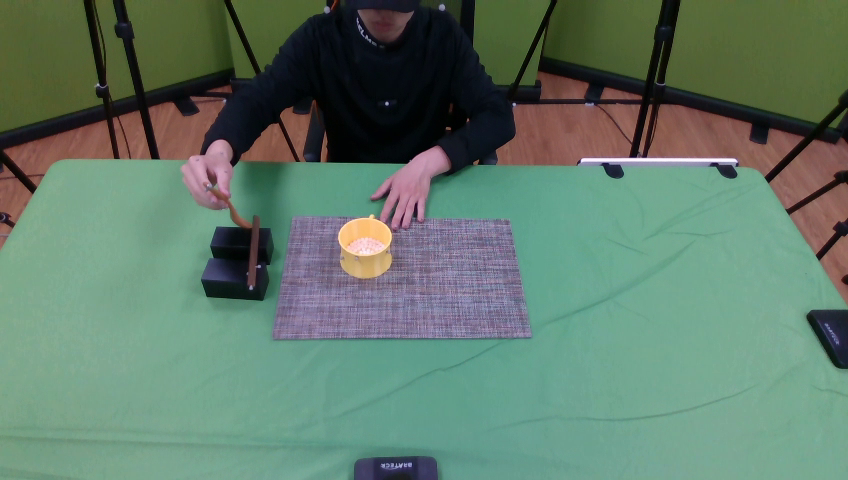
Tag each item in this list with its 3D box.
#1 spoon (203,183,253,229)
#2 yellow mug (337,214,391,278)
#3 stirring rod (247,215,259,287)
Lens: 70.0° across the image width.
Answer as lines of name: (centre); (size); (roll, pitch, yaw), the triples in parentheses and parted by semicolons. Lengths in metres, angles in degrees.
spoon: (-0.336, -0.060, 1.038); (0.041, 0.194, 0.021); (38, 75, 15)
yellow mug: (-0.110, 0.003, 1.152); (0.100, 0.064, 0.130); (7, 45, 2)
stirring rod: (-0.309, 0.017, 1.097); (0.014, 0.006, 0.175); (24, 36, -31)
